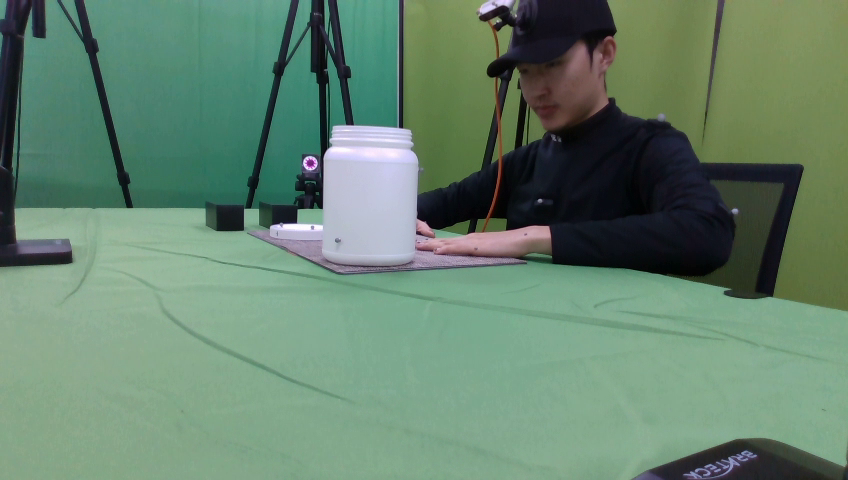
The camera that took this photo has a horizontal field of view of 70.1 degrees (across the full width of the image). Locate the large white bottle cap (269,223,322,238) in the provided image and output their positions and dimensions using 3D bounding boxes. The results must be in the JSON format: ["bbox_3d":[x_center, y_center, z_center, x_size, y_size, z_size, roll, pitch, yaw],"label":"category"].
[{"bbox_3d":[-0.218,-0.017,1.084,0.115,0.018,0.115,2,7,0],"label":"large white bottle cap"}]

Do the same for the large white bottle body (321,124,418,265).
[{"bbox_3d":[-0.075,-0.064,0.836,0.131,0.184,0.130,2,8,0],"label":"large white bottle body"}]
